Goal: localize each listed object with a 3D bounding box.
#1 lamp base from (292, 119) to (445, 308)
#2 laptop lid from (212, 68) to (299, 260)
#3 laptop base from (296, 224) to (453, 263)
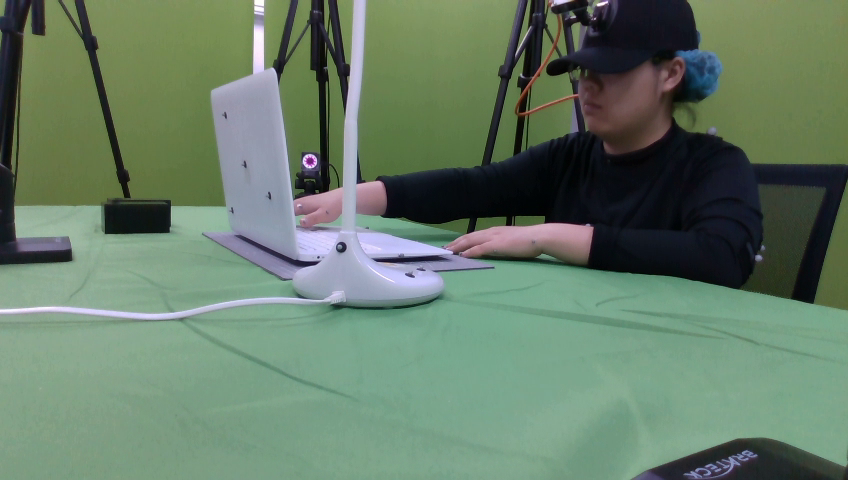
[{"bbox_3d":[-0.056,-0.030,0.616,0.160,0.180,0.179,3,10,8],"label":"lamp base"},{"bbox_3d":[-0.254,-0.110,0.872,0.013,0.241,0.355,-11,14,-29],"label":"laptop lid"},{"bbox_3d":[-0.143,0.003,0.957,0.237,0.023,0.352,2,6,-31],"label":"laptop base"}]
